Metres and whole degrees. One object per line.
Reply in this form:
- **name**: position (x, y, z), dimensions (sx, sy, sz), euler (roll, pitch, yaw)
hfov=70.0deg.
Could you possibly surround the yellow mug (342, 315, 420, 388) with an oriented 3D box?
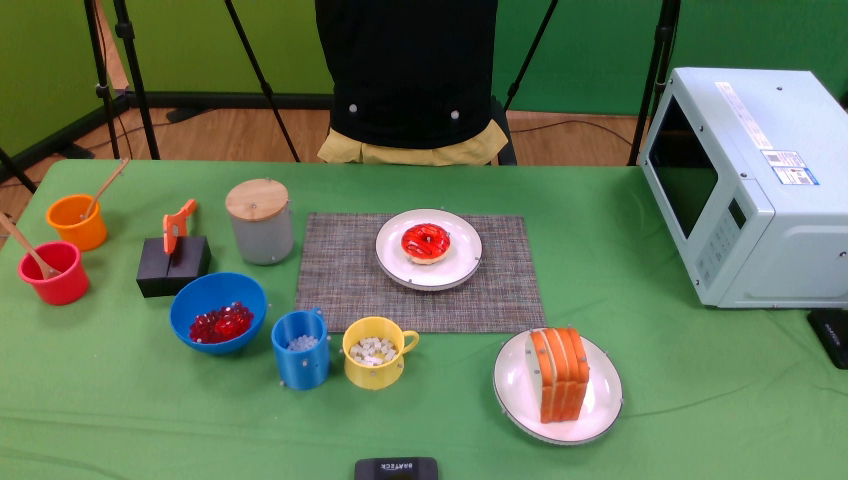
- **yellow mug**: position (-0.068, 0.177, 0.991), dimensions (0.131, 0.064, 0.099), euler (-15, 50, -19)

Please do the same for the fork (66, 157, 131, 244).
- **fork**: position (-0.608, -0.074, 1.133), dimensions (0.207, 0.019, 0.028), euler (-52, 47, 10)

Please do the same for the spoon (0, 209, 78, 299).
- **spoon**: position (-0.668, 0.021, 1.040), dimensions (0.041, 0.021, 0.194), euler (-41, 105, -30)

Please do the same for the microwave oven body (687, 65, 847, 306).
- **microwave oven body**: position (0.669, -0.111, 1.176), dimensions (0.326, 0.261, 0.439), euler (0, 46, -3)

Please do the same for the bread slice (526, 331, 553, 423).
- **bread slice**: position (0.176, 0.202, 0.929), dimensions (0.019, 0.132, 0.104), euler (-9, 45, -1)

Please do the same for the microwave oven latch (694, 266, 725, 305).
- **microwave oven latch**: position (0.523, 0.082, 1.115), dimensions (0.030, 0.029, 0.078), euler (3, 46, 0)

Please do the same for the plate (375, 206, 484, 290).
- **plate**: position (0.009, 0.018, 1.161), dimensions (0.209, 0.038, 0.208), euler (2, 47, -2)

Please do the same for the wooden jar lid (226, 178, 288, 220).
- **wooden jar lid**: position (-0.296, -0.070, 1.081), dimensions (0.108, 0.021, 0.107), euler (1, 45, -1)

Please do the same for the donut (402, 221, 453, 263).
- **donut**: position (0.006, 0.003, 1.160), dimensions (0.099, 0.048, 0.098), euler (1, 44, 0)

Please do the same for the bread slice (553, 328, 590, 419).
- **bread slice**: position (0.226, 0.201, 0.932), dimensions (0.018, 0.135, 0.106), euler (-4, 51, -4)

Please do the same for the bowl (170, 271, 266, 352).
- **bowl**: position (-0.333, 0.132, 1.006), dimensions (0.151, 0.077, 0.150), euler (2, 46, -2)

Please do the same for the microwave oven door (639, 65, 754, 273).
- **microwave oven door**: position (0.522, -0.147, 1.193), dimensions (0.039, 0.245, 0.353), euler (0, 47, -3)

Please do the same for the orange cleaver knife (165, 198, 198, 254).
- **orange cleaver knife**: position (-0.458, -0.031, 1.149), dimensions (0.012, 0.077, 0.210), euler (-2, 17, -6)

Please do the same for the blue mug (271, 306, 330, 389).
- **blue mug**: position (-0.188, 0.163, 0.969), dimensions (0.082, 0.106, 0.116), euler (15, 47, 10)

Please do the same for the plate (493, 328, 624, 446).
- **plate**: position (0.213, 0.236, 0.974), dimensions (0.208, 0.039, 0.206), euler (2, 46, -2)

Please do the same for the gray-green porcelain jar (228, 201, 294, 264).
- **gray-green porcelain jar**: position (-0.299, -0.027, 1.126), dimensions (0.106, 0.127, 0.105), euler (2, 46, -2)
